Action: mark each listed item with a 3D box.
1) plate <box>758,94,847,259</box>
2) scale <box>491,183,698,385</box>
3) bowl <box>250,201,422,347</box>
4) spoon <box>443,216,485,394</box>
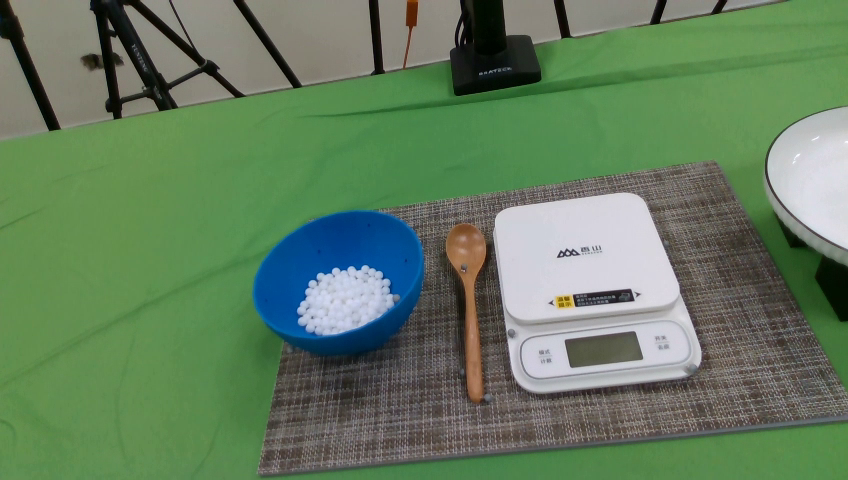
[{"bbox_3d":[0.379,-0.045,0.482,0.209,0.038,0.207,-7,45,7],"label":"plate"},{"bbox_3d":[0.141,0.030,0.538,0.148,0.032,0.199,-8,45,7],"label":"scale"},{"bbox_3d":[-0.070,0.043,0.544,0.151,0.077,0.150,-7,45,7],"label":"bowl"},{"bbox_3d":[0.039,0.051,0.550,0.041,0.022,0.192,4,45,-3],"label":"spoon"}]
